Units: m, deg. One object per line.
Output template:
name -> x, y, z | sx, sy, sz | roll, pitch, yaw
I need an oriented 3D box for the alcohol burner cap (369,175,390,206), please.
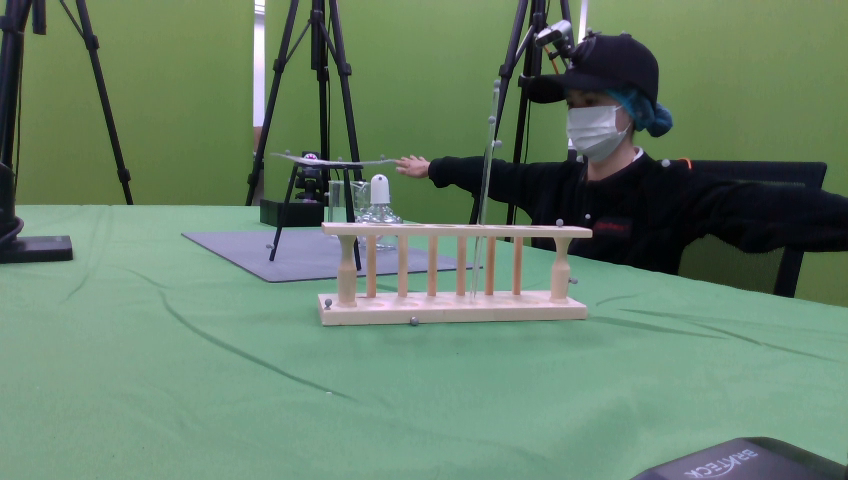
alcohol burner cap -> -0.069, -0.077, 0.939 | 0.034, 0.048, 0.034 | -1, 6, 0

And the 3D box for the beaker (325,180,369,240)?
beaker -> -0.133, -0.052, 1.058 | 0.074, 0.100, 0.083 | -3, 10, -36

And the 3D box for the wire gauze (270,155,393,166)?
wire gauze -> -0.122, -0.102, 0.785 | 0.122, 0.011, 0.124 | -3, 10, -39

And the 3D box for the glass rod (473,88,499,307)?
glass rod -> 0.055, -0.035, 0.542 | 0.008, 0.199, 0.008 | 5, 2, 0

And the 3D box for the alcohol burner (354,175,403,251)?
alcohol burner -> -0.072, -0.042, 0.944 | 0.078, 0.119, 0.078 | 1, 9, 0

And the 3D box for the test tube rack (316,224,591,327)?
test tube rack -> 0.026, 0.028, 0.555 | 0.243, 0.085, 0.066 | 1, 7, -15

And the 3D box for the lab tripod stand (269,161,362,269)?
lab tripod stand -> -0.125, -0.036, 0.794 | 0.148, 0.131, 0.148 | 5, 7, 0
